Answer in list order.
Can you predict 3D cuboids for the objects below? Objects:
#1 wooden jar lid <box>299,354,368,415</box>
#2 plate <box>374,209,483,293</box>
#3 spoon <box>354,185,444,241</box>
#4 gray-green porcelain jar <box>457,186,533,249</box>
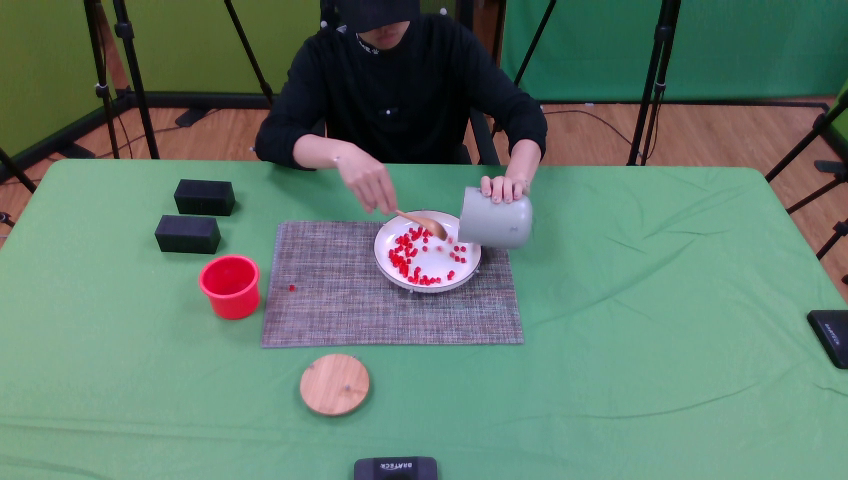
[{"bbox_3d":[-0.143,0.232,0.964,0.108,0.021,0.107,2,45,-2],"label":"wooden jar lid"},{"bbox_3d":[0.008,0.023,1.158,0.208,0.039,0.206,2,46,-2],"label":"plate"},{"bbox_3d":[-0.045,-0.050,1.121,0.194,0.022,0.041,26,35,-8],"label":"spoon"},{"bbox_3d":[0.130,-0.040,1.109,0.126,0.106,0.105,8,46,1],"label":"gray-green porcelain jar"}]
